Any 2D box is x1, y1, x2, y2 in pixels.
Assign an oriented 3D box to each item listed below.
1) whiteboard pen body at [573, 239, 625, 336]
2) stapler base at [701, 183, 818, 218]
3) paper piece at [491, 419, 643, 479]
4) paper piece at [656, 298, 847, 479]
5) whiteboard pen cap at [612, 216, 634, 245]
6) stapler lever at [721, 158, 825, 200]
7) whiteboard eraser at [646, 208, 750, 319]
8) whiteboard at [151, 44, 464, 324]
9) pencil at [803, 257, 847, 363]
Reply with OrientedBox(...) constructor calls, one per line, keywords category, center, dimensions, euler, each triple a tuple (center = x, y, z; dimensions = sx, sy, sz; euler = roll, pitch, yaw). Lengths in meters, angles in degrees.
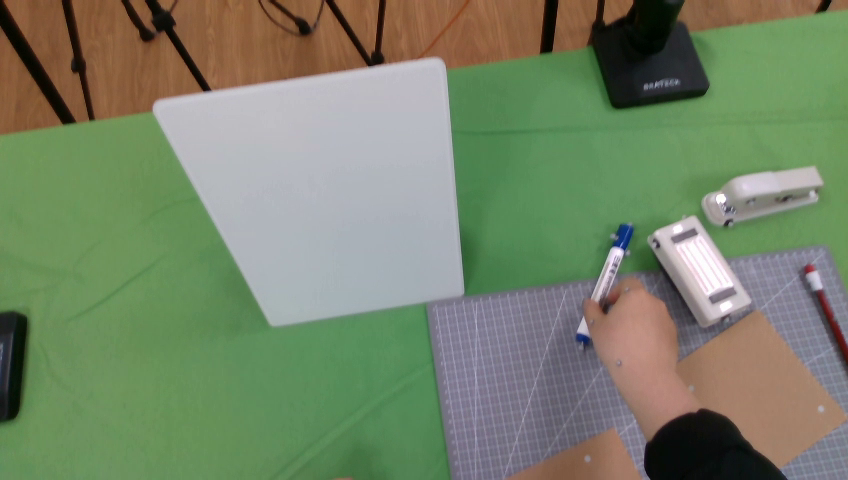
OrientedBox(category="whiteboard pen body", center=(0.194, 0.040, 0.656), dimensions=(0.017, 0.017, 0.140), euler=(25, 73, 12))
OrientedBox(category="stapler base", center=(0.383, -0.059, 0.686), dimensions=(0.131, 0.024, 0.041), euler=(-13, 72, -5))
OrientedBox(category="paper piece", center=(0.154, 0.261, 0.580), dimensions=(0.135, 0.004, 0.134), euler=(-22, 71, -6))
OrientedBox(category="paper piece", center=(0.331, 0.150, 0.614), dimensions=(0.136, 0.009, 0.137), euler=(-31, 73, -4))
OrientedBox(category="whiteboard pen cap", center=(0.221, -0.009, 0.673), dimensions=(0.018, 0.018, 0.033), euler=(21, 71, 10))
OrientedBox(category="stapler lever", center=(0.384, -0.068, 0.664), dimensions=(0.118, 0.040, 0.026), euler=(-14, 72, -3))
OrientedBox(category="whiteboard eraser", center=(0.289, 0.025, 0.645), dimensions=(0.055, 0.042, 0.112), euler=(-23, 70, -4))
OrientedBox(category="whiteboard", center=(-0.083, -0.074, 0.592), dimensions=(0.217, 0.308, 0.142), euler=(-8, 50, 0))
OrientedBox(category="pencil", center=(0.434, 0.108, 0.625), dimensions=(0.012, 0.012, 0.192), euler=(-12, 72, -2))
